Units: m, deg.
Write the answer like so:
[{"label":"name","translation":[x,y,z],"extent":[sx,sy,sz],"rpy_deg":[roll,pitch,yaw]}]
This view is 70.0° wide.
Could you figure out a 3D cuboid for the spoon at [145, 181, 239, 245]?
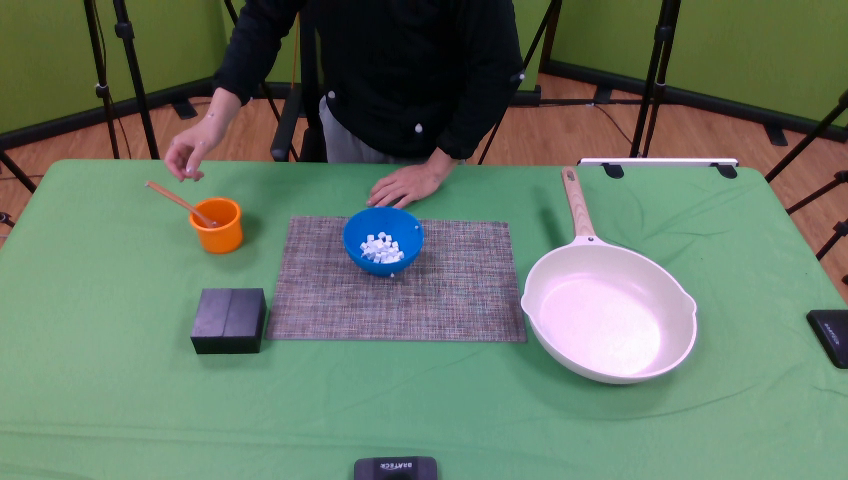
[{"label":"spoon","translation":[-0.428,-0.052,1.126],"extent":[0.021,0.195,0.041],"rpy_deg":[-28,34,33]}]

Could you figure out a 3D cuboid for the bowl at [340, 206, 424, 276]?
[{"label":"bowl","translation":[-0.079,0.014,1.133],"extent":[0.151,0.077,0.150],"rpy_deg":[2,46,-2]}]

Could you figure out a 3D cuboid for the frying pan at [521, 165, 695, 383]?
[{"label":"frying pan","translation":[0.312,0.044,1.123],"extent":[0.307,0.103,0.484],"rpy_deg":[1,55,-5]}]
